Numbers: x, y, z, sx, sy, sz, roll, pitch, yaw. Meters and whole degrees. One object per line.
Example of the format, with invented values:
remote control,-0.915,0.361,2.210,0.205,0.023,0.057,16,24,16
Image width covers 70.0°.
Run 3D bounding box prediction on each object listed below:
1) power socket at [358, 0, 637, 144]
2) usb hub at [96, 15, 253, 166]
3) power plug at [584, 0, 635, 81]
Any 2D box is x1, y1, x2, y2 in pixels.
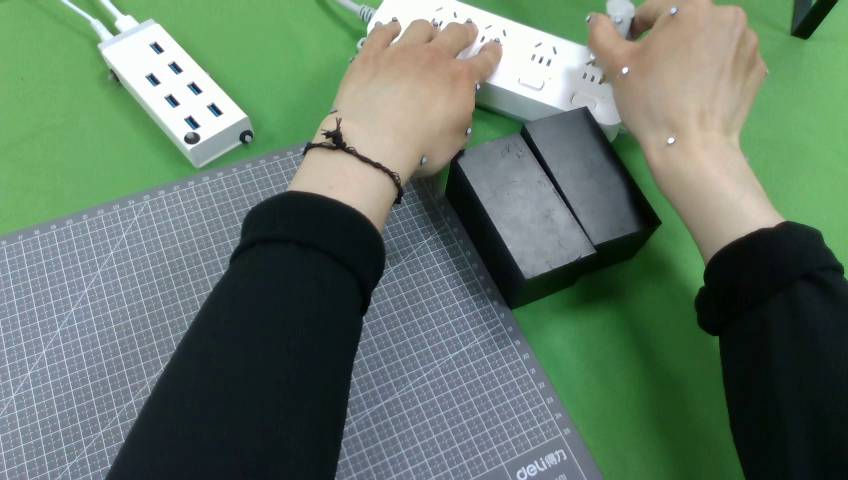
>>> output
power socket,0.060,-0.141,0.478,0.226,0.033,0.072,22,62,7
usb hub,-0.184,-0.112,0.444,0.049,0.025,0.124,-38,72,-21
power plug,0.142,-0.158,0.453,0.035,0.053,0.072,19,56,6
